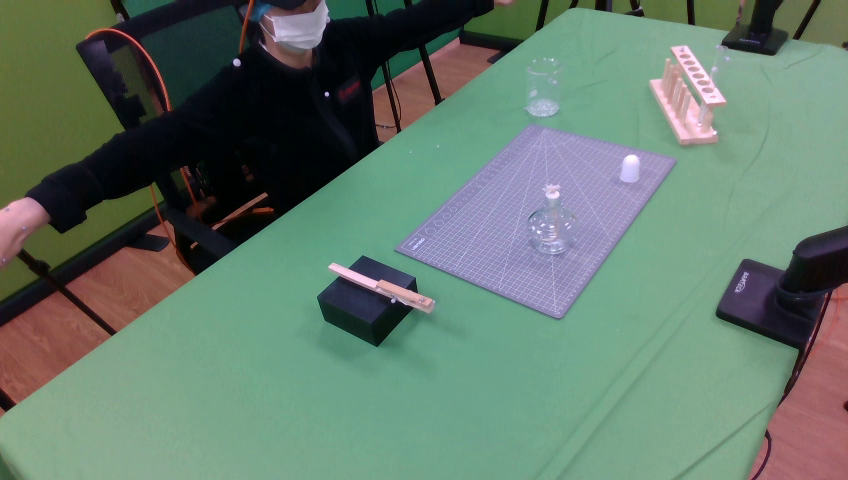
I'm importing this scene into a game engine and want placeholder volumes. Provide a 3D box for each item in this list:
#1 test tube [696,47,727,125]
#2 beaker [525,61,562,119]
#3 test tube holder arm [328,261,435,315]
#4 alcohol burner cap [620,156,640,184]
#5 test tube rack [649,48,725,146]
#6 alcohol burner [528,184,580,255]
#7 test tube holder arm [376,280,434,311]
[{"bbox_3d":[0.519,-0.276,1.094,0.017,0.151,0.017,-1,42,1],"label":"test tube"},{"bbox_3d":[0.248,-0.309,1.245,0.073,0.101,0.084,29,52,36],"label":"beaker"},{"bbox_3d":[-0.062,0.065,0.836,0.177,0.013,0.015,20,48,28],"label":"test tube holder arm"},{"bbox_3d":[0.358,-0.124,1.047,0.034,0.048,0.033,-4,40,4],"label":"alcohol burner cap"},{"bbox_3d":[0.508,-0.285,1.186,0.067,0.085,0.241,-4,40,6],"label":"test tube rack"},{"bbox_3d":[0.196,-0.036,0.911,0.078,0.119,0.077,-6,41,5],"label":"alcohol burner"},{"bbox_3d":[-0.026,0.074,0.811,0.087,0.010,0.015,19,48,29],"label":"test tube holder arm"}]
